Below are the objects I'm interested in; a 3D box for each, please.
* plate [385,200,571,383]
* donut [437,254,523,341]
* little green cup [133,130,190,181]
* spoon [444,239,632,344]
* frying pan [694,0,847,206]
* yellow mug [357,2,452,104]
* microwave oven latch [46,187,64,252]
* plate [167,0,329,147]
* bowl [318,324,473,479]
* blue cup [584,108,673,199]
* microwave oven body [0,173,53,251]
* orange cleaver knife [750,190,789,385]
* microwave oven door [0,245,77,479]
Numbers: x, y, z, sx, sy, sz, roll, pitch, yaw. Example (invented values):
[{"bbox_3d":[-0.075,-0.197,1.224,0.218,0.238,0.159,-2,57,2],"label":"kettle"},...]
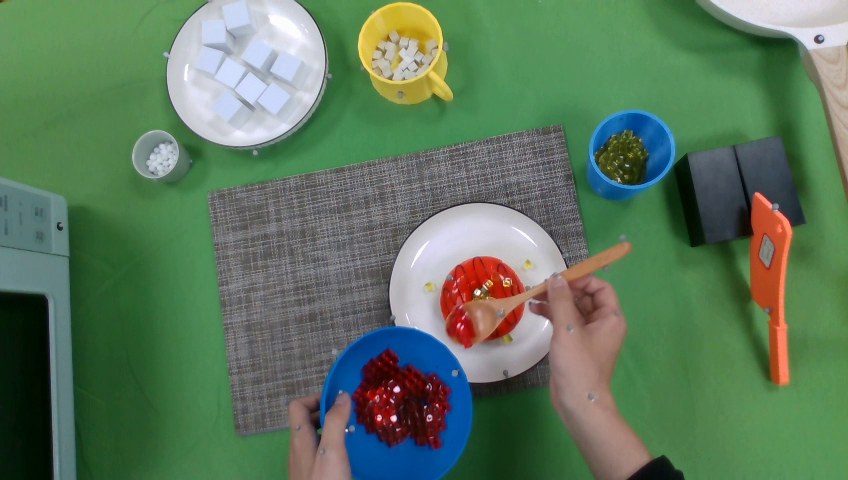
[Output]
[{"bbox_3d":[0.061,0.058,0.697,0.209,0.038,0.208,-1,84,7],"label":"plate"},{"bbox_3d":[0.064,0.065,0.685,0.099,0.048,0.099,0,87,7],"label":"donut"},{"bbox_3d":[-0.328,-0.103,0.763,0.061,0.039,0.061,-1,83,5],"label":"little green cup"},{"bbox_3d":[0.106,0.047,0.574,0.193,0.022,0.041,-28,76,16],"label":"spoon"},{"bbox_3d":[0.422,-0.264,0.665,0.306,0.103,0.485,-5,75,7],"label":"frying pan"},{"bbox_3d":[-0.014,-0.214,0.729,0.130,0.064,0.100,43,89,9],"label":"yellow mug"},{"bbox_3d":[-0.467,-0.025,0.753,0.030,0.029,0.079,-4,83,6],"label":"microwave oven latch"},{"bbox_3d":[-0.218,-0.216,0.766,0.207,0.039,0.207,-1,83,7],"label":"plate"},{"bbox_3d":[-0.037,0.163,0.595,0.152,0.077,0.150,7,71,-22],"label":"bowl"},{"bbox_3d":[0.216,-0.086,0.669,0.092,0.100,0.092,-1,81,5],"label":"blue cup"},{"bbox_3d":[-0.605,0.155,0.649,0.326,0.261,0.440,-7,83,5],"label":"microwave oven body"},{"bbox_3d":[0.365,0.053,0.645,0.012,0.076,0.212,-11,111,6],"label":"orange cleaver knife"},{"bbox_3d":[-0.457,0.179,0.625,0.039,0.245,0.354,-7,82,6],"label":"microwave oven door"}]
